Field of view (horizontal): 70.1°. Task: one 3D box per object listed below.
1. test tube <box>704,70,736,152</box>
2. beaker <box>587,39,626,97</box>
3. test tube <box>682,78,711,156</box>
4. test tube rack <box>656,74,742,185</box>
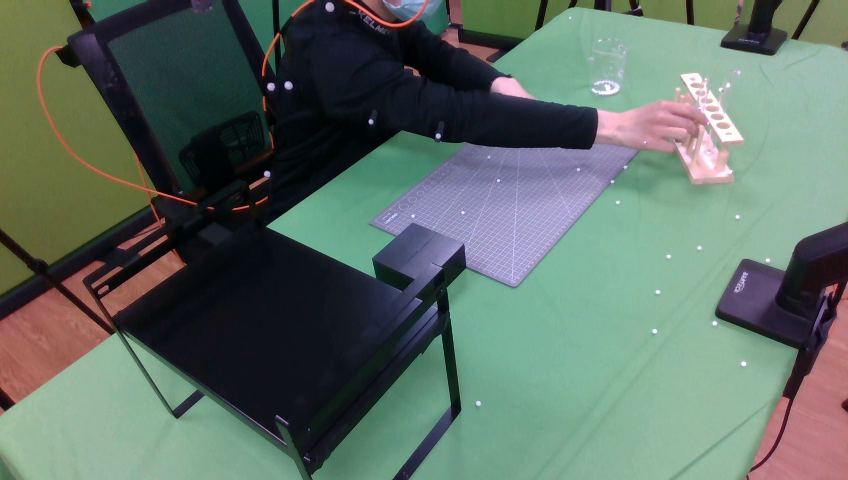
[{"bbox_3d":[0.502,-0.216,1.028,0.017,0.151,0.017,-2,40,2],"label":"test tube"},{"bbox_3d":[0.386,-0.361,1.280,0.074,0.101,0.083,-22,43,-15],"label":"beaker"},{"bbox_3d":[0.464,-0.208,1.032,0.017,0.151,0.017,-3,44,4],"label":"test tube"},{"bbox_3d":[0.488,-0.205,1.093,0.067,0.085,0.241,-3,41,5],"label":"test tube rack"}]
